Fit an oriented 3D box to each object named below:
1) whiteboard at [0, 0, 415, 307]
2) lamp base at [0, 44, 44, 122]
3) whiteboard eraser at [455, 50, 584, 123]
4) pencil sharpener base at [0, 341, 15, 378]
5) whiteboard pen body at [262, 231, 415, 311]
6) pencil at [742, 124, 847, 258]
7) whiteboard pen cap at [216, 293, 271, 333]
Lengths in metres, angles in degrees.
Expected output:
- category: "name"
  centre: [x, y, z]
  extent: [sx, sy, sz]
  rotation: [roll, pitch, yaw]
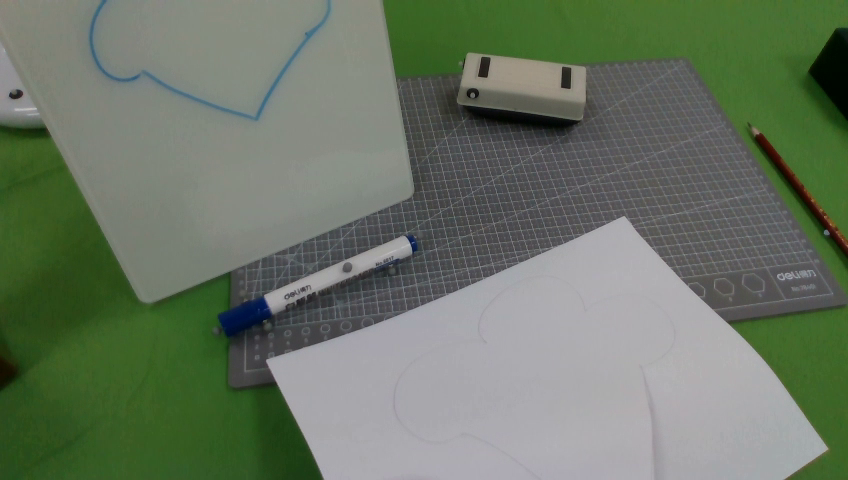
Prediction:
- category: "whiteboard"
  centre: [-0.152, -0.149, 0.414]
  extent: [0.217, 0.308, 0.142]
  rotation: [-24, 38, -19]
- category: "lamp base"
  centre: [-0.345, -0.216, 0.491]
  extent: [0.178, 0.182, 0.160]
  rotation: [27, 56, 18]
- category: "whiteboard eraser"
  centre: [0.087, -0.138, 0.547]
  extent: [0.112, 0.042, 0.055]
  rotation: [9, 54, 3]
- category: "pencil sharpener base"
  centre: [-0.301, 0.056, 0.338]
  extent: [0.061, 0.108, 0.076]
  rotation: [34, 59, 20]
- category: "whiteboard pen body"
  centre: [-0.069, 0.025, 0.425]
  extent: [0.141, 0.017, 0.017]
  rotation: [-24, 58, -19]
- category: "pencil"
  centre: [0.322, -0.035, 0.513]
  extent: [0.012, 0.012, 0.192]
  rotation: [-9, 52, -10]
- category: "whiteboard pen cap"
  centre: [-0.120, 0.048, 0.406]
  extent: [0.033, 0.018, 0.018]
  rotation: [-25, 58, -19]
